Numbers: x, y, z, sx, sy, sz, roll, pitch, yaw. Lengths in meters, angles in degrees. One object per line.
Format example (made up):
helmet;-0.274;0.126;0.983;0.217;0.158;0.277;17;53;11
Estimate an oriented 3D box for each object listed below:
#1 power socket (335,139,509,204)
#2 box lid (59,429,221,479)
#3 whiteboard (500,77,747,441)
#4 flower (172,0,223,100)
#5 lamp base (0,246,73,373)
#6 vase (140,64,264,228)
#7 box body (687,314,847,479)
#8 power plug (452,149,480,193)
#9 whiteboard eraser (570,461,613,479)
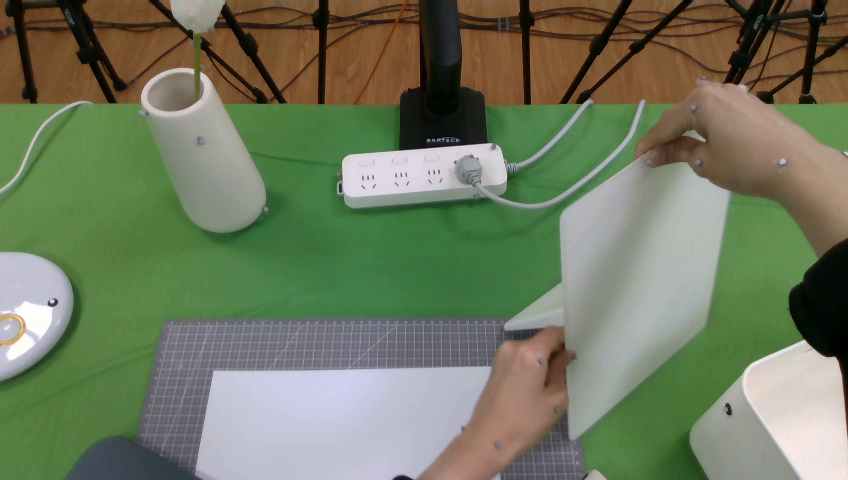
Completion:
power socket;-0.002;-0.089;0.778;0.227;0.033;0.071;-4;59;-4
box lid;-0.216;0.348;0.517;0.370;0.015;0.262;22;61;12
whiteboard;0.168;0.005;0.594;0.217;0.308;0.142;-33;44;-20
flower;-0.228;-0.136;0.610;0.038;0.363;0.044;46;59;5
lamp base;-0.486;0.030;0.611;0.178;0.182;0.160;28;61;19
vase;-0.248;-0.099;0.684;0.098;0.201;0.097;0;58;1
box body;0.429;0.246;0.498;0.254;0.162;0.360;-18;60;-12
power plug;0.051;-0.080;0.746;0.035;0.053;0.072;5;64;2
whiteboard eraser;0.137;0.262;0.553;0.112;0.042;0.055;-40;65;-22
